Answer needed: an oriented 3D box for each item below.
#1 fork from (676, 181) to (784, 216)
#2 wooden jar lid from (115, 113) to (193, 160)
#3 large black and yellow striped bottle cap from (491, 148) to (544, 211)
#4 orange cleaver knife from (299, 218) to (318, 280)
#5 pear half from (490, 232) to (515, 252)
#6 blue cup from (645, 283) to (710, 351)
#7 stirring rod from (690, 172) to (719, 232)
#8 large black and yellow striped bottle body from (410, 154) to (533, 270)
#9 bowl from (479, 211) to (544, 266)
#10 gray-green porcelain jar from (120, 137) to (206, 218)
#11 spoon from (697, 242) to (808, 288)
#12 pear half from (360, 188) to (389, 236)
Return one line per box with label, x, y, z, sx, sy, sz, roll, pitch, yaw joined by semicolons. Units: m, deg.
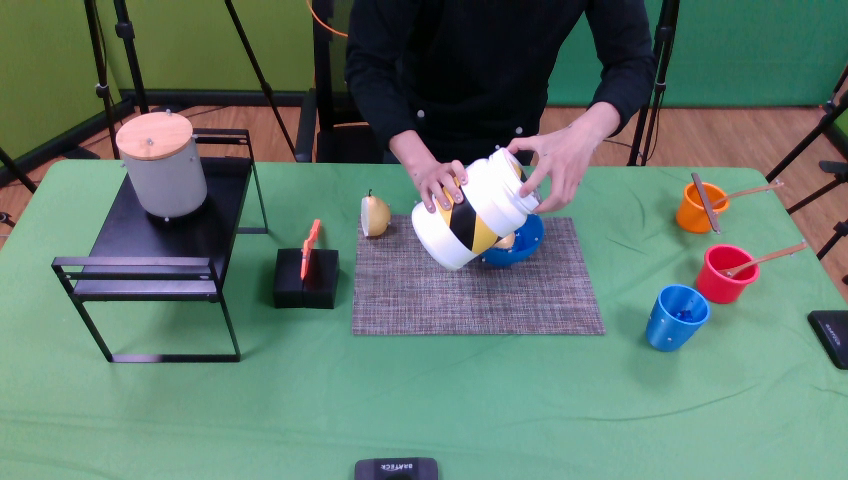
fork;0.618;-0.083;1.235;0.019;0.207;0.028;54;40;-16
wooden jar lid;-0.399;-0.151;0.900;0.108;0.021;0.107;3;46;-3
large black and yellow striped bottle cap;0.149;-0.097;0.959;0.019;0.115;0.114;-37;45;20
orange cleaver knife;-0.214;0.013;1.125;0.012;0.077;0.210;6;17;-5
pear half;0.145;-0.013;1.167;0.070;0.031;0.087;-21;55;-19
blue cup;0.426;0.139;1.040;0.093;0.100;0.092;4;46;-4
stirring rod;0.566;-0.080;1.224;0.014;0.006;0.175;3;46;1
large black and yellow striped bottle body;0.084;-0.050;0.989;0.184;0.131;0.130;-36;45;20
bowl;0.149;-0.004;1.167;0.151;0.077;0.150;2;46;-2
gray-green porcelain jar;-0.403;-0.106;0.946;0.106;0.127;0.105;3;46;-2
spoon;0.601;0.044;1.116;0.194;0.022;0.041;-29;34;30
pear half;-0.096;-0.060;1.181;0.056;0.110;0.076;-14;52;-17
